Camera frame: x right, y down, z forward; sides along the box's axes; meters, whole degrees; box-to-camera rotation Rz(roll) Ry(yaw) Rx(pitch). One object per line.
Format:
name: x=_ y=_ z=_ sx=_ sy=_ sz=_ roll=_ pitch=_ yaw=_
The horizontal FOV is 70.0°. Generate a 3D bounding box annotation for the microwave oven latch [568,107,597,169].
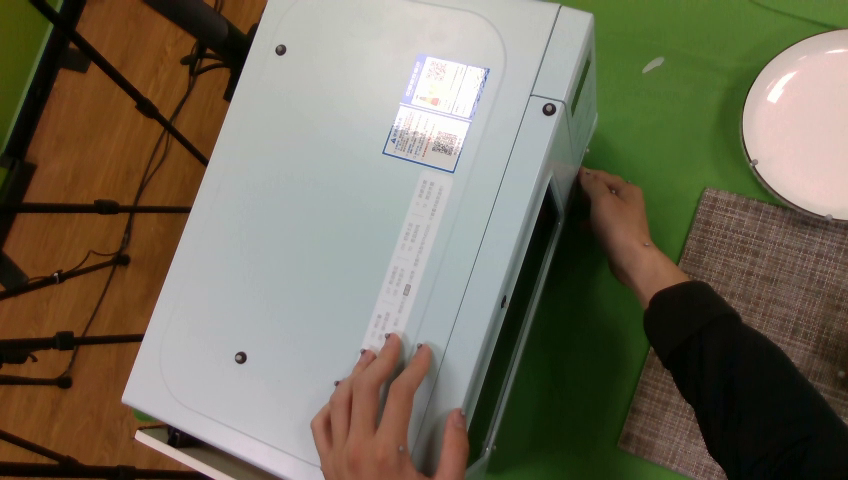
microwave oven latch: x=0.171 y=-0.114 z=0.689 sx=0.030 sy=0.030 sz=0.079 roll=23 pitch=88 yaw=18

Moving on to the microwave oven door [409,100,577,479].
microwave oven door: x=0.073 y=0.075 z=0.577 sx=0.039 sy=0.245 sz=0.355 roll=17 pitch=85 yaw=19

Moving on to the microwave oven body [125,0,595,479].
microwave oven body: x=-0.045 y=-0.003 z=0.631 sx=0.324 sy=0.262 sz=0.441 roll=17 pitch=86 yaw=18

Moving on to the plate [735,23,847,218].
plate: x=0.436 y=-0.121 z=0.632 sx=0.207 sy=0.039 sz=0.207 roll=-3 pitch=80 yaw=16
